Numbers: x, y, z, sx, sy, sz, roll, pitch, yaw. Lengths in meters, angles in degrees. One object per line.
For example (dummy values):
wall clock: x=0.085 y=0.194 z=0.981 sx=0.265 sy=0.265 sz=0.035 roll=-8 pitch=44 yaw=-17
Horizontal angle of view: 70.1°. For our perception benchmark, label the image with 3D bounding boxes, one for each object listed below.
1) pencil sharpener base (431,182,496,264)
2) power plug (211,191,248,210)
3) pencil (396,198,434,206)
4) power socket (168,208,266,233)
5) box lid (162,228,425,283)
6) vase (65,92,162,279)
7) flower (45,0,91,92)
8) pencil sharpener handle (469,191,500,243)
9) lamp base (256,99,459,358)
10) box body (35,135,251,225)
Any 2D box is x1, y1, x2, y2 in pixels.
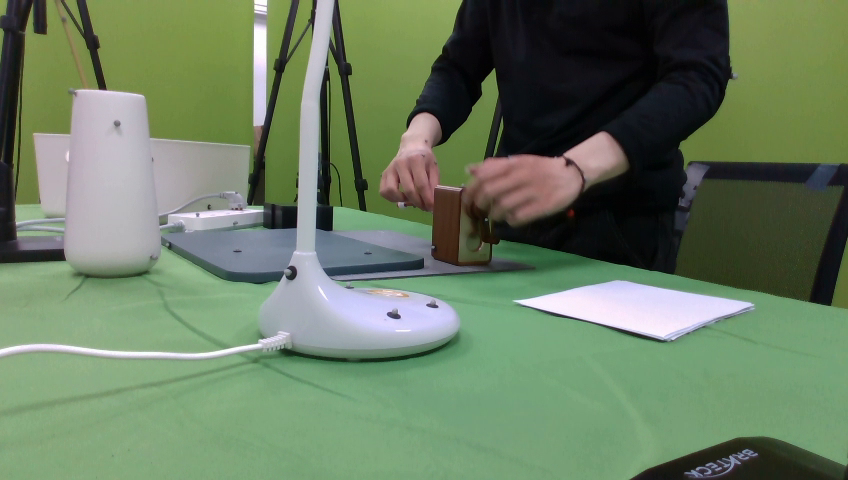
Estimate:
pencil sharpener base: x=0.055 y=-0.024 z=0.842 sx=0.061 sy=0.107 sz=0.076 roll=-2 pitch=9 yaw=-30
power plug: x=-0.384 y=-0.071 z=1.205 sx=0.072 sy=0.052 sz=0.035 roll=1 pitch=8 yaw=28
pencil: x=0.000 y=-0.060 z=0.943 sx=0.012 sy=0.012 sz=0.193 roll=-2 pitch=2 yaw=-27
power socket: x=-0.379 y=-0.038 z=1.129 sx=0.072 sy=0.032 sz=0.227 roll=4 pitch=8 yaw=18
box lid: x=-0.200 y=0.014 z=0.861 sx=0.265 sy=0.015 sz=0.369 roll=-4 pitch=9 yaw=-35
vase: x=-0.347 y=-0.060 z=0.673 sx=0.098 sy=0.200 sz=0.098 roll=1 pitch=7 yaw=0
flower: x=-0.361 y=-0.142 z=0.663 sx=0.044 sy=0.361 sz=0.038 roll=-12 pitch=11 yaw=30
pencil sharpener handle: x=0.085 y=-0.030 z=0.799 sx=0.036 sy=0.068 sz=0.030 roll=-18 pitch=17 yaw=-27
lamp base: x=-0.055 y=-0.013 z=0.463 sx=0.160 sy=0.180 sz=0.180 roll=6 pitch=11 yaw=27
box body: x=-0.559 y=-0.127 z=1.257 sx=0.253 sy=0.160 sz=0.365 roll=4 pitch=8 yaw=15
